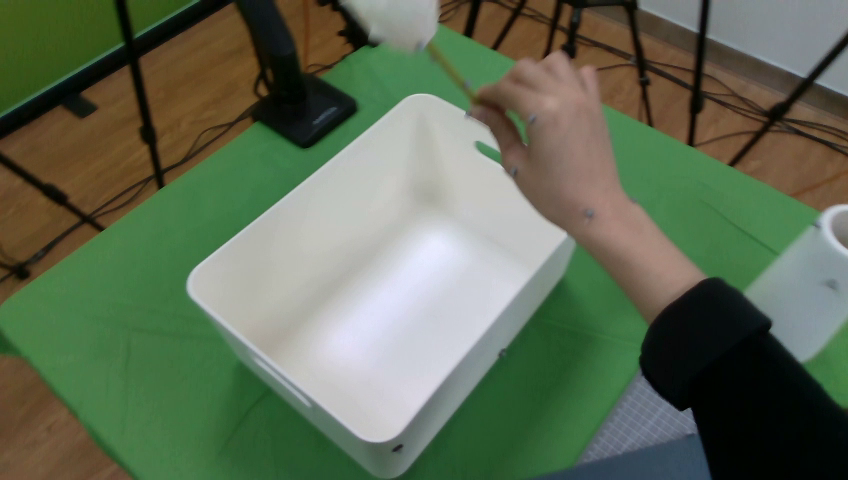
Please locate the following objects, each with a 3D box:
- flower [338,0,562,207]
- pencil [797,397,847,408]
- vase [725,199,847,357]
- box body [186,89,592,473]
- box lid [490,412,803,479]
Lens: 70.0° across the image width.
[{"bbox_3d":[0.052,-0.086,0.454,0.044,0.365,0.038,-26,63,19],"label":"flower"},{"bbox_3d":[0.506,0.179,0.663,0.194,0.012,0.012,1,54,-1],"label":"pencil"},{"bbox_3d":[0.400,0.044,0.641,0.098,0.202,0.097,0,53,0],"label":"vase"},{"bbox_3d":[-0.023,0.034,0.666,0.252,0.162,0.363,33,61,21],"label":"box body"},{"bbox_3d":[0.217,0.321,0.558,0.372,0.015,0.260,-12,56,-8],"label":"box lid"}]
